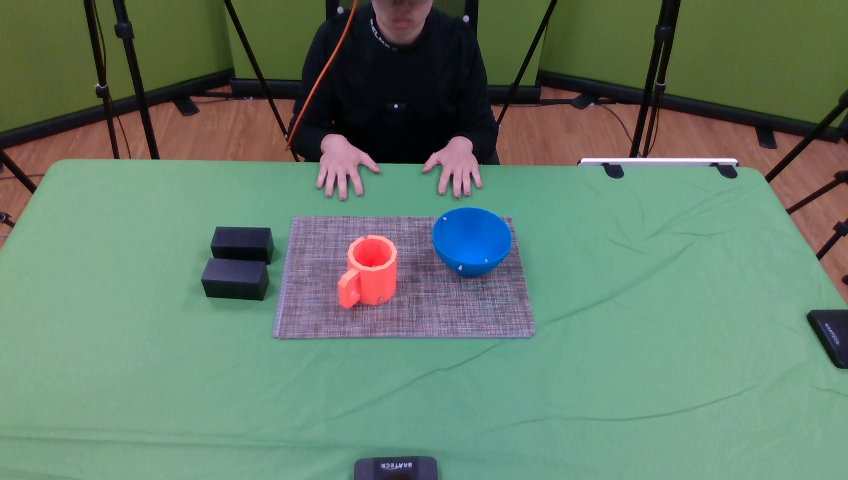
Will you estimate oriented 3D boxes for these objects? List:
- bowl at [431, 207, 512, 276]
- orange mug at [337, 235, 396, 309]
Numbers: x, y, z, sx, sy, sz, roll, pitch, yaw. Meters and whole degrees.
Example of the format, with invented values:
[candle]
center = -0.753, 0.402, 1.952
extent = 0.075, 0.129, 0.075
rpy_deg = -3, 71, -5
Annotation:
[bowl]
center = 0.086, 0.016, 1.147
extent = 0.151, 0.077, 0.150
rpy_deg = 2, 46, -2
[orange mug]
center = -0.104, 0.063, 1.073
extent = 0.083, 0.101, 0.126
rpy_deg = 31, 48, 24
